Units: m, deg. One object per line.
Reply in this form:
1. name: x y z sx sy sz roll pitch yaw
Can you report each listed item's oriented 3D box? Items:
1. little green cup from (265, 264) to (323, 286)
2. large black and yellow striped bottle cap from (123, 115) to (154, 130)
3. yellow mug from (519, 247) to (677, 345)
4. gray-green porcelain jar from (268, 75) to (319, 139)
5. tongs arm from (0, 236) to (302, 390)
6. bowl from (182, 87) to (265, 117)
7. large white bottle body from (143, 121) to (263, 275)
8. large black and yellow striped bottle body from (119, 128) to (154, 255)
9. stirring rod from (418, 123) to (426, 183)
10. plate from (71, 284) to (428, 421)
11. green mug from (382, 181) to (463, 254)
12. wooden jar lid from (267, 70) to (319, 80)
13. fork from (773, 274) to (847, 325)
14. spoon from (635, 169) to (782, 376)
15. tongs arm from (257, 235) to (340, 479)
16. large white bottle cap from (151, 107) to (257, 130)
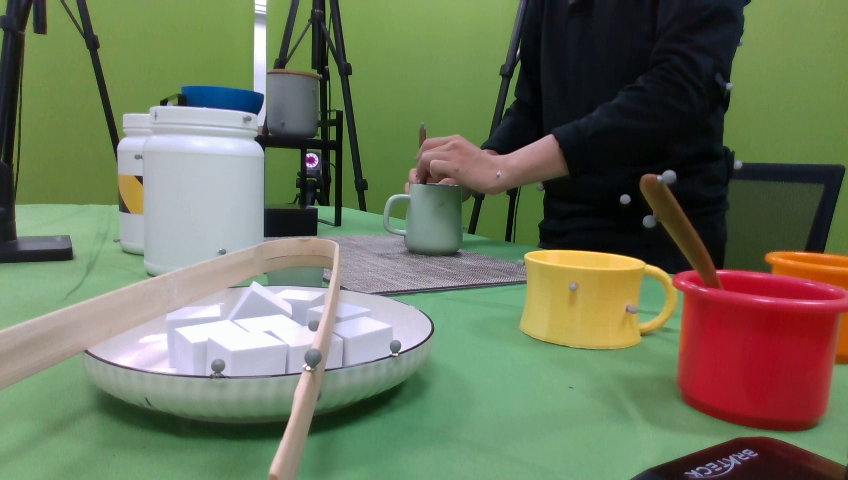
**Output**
1. little green cup: -0.134 0.034 0.627 0.061 0.038 0.061 3 6 0
2. large black and yellow striped bottle cap: -0.353 -0.159 0.838 0.115 0.019 0.115 2 6 0
3. yellow mug: 0.148 0.045 0.513 0.131 0.064 0.100 3 7 0
4. gray-green porcelain jar: -0.277 -0.279 1.280 0.106 0.126 0.106 2 8 0
5. tongs arm: -0.157 0.037 0.347 0.028 0.028 0.388 -2 8 11
6. bowl: -0.383 -0.244 1.158 0.151 0.077 0.151 2 7 0
7. large white bottle body: -0.254 -0.054 0.702 0.131 0.184 0.130 2 8 0
8. large black and yellow striped bottle body: -0.355 -0.076 0.850 0.131 0.184 0.130 2 8 0
9. stirring rod: -0.002 -0.085 0.902 0.006 0.176 0.014 -5 6 -38
10. plate: -0.102 0.067 0.381 0.208 0.039 0.207 3 7 0
11. green mug: -0.001 -0.036 0.922 0.126 0.105 0.092 0 8 -16
12. wooden jar lid: -0.275 -0.340 1.271 0.108 0.020 0.108 5 6 0
13. fork: 0.332 0.018 0.443 0.028 0.018 0.207 -1 -36 -14
14. spoon: 0.161 0.026 0.346 0.041 0.194 0.021 10 56 53
15. tongs arm: -0.074 0.040 0.345 0.051 0.026 0.384 -1 9 -3
16. large white bottle cap: -0.250 -0.138 0.692 0.115 0.018 0.115 3 7 0
